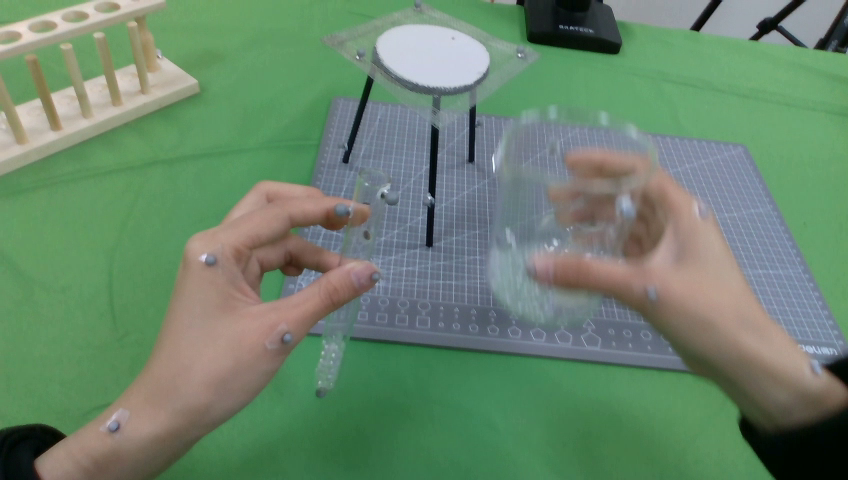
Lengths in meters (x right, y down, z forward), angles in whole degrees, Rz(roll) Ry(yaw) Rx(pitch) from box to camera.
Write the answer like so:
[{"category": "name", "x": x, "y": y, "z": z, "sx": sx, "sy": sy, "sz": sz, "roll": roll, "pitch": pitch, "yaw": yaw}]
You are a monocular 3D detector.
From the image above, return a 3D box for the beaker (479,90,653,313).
[{"category": "beaker", "x": 0.066, "y": -0.016, "z": 0.321, "sx": 0.084, "sy": 0.101, "sz": 0.073, "roll": -13, "pitch": 44, "yaw": -19}]

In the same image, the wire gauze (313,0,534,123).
[{"category": "wire gauze", "x": 0.001, "y": -0.145, "z": 0.453, "sx": 0.124, "sy": 0.011, "sz": 0.121, "roll": 37, "pitch": 53, "yaw": 21}]

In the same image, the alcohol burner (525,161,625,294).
[{"category": "alcohol burner", "x": 0.119, "y": -0.014, "z": 0.458, "sx": 0.078, "sy": 0.120, "sz": 0.077, "roll": 6, "pitch": 46, "yaw": -6}]

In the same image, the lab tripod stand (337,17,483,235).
[{"category": "lab tripod stand", "x": -0.004, "y": -0.099, "z": 0.503, "sx": 0.149, "sy": 0.132, "sz": 0.147, "roll": 6, "pitch": 48, "yaw": -6}]

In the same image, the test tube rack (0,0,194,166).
[{"category": "test tube rack", "x": -0.330, "y": -0.141, "z": 0.524, "sx": 0.066, "sy": 0.086, "sz": 0.242, "roll": 36, "pitch": 52, "yaw": 22}]

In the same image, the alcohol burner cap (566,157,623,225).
[{"category": "alcohol burner cap", "x": 0.123, "y": -0.037, "z": 0.430, "sx": 0.034, "sy": 0.048, "sz": 0.033, "roll": 4, "pitch": 51, "yaw": -5}]

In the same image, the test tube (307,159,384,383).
[{"category": "test tube", "x": -0.044, "y": 0.024, "z": 0.314, "sx": 0.017, "sy": 0.151, "sz": 0.017, "roll": 12, "pitch": 37, "yaw": -9}]
